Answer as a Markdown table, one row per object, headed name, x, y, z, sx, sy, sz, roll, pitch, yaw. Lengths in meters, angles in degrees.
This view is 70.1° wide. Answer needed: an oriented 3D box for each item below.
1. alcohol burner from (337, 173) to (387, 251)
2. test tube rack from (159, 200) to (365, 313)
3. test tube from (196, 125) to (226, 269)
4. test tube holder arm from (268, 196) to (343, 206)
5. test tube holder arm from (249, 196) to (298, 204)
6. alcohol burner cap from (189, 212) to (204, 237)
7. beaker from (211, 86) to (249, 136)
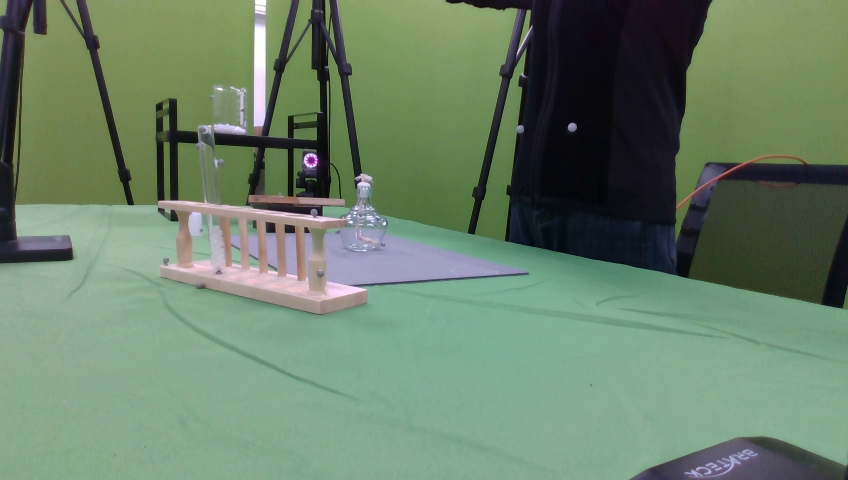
| name | x | y | z | sx | sy | sz | roll | pitch | yaw |
| --- | --- | --- | --- | --- | --- | --- | --- | --- | --- |
| alcohol burner | -0.095 | -0.043 | 0.926 | 0.078 | 0.119 | 0.078 | 3 | 5 | 0 |
| test tube rack | -0.173 | 0.009 | 0.624 | 0.241 | 0.085 | 0.067 | 7 | 9 | 34 |
| test tube | -0.221 | -0.043 | 0.629 | 0.017 | 0.150 | 0.017 | -3 | 8 | 1 |
| test tube holder arm | -0.241 | -0.075 | 1.152 | 0.179 | 0.015 | 0.013 | 0 | 8 | -24 |
| test tube holder arm | -0.281 | -0.074 | 1.129 | 0.088 | 0.015 | 0.010 | 1 | 8 | -22 |
| alcohol burner cap | -0.389 | -0.029 | 1.026 | 0.034 | 0.048 | 0.034 | 2 | 9 | 0 |
| beaker | -0.413 | -0.274 | 1.297 | 0.074 | 0.100 | 0.083 | -5 | 11 | -44 |
